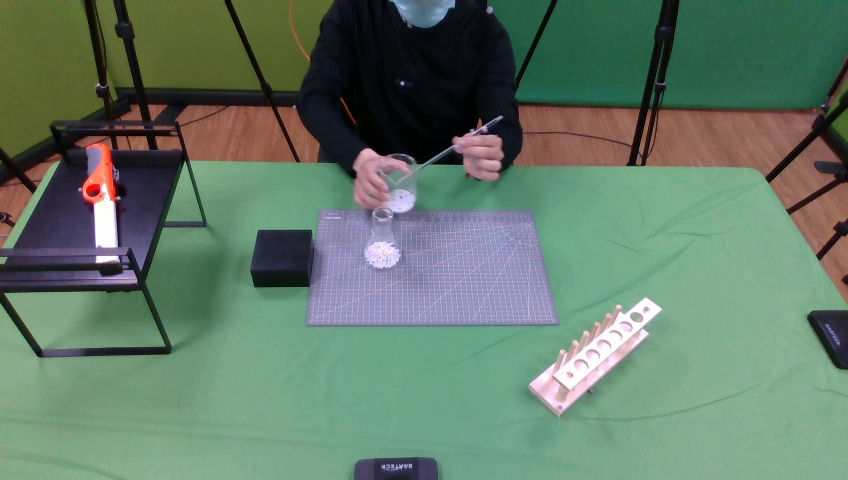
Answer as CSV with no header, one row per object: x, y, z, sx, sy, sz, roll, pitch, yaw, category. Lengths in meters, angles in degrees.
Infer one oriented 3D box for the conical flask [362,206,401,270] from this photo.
-0.078,-0.008,1.126,0.075,0.122,0.075,2,46,-2,conical flask

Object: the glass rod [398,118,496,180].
0.039,-0.158,1.057,0.200,0.008,0.008,-31,49,9,glass rod

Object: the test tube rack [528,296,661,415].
0.285,0.178,1.005,0.242,0.085,0.066,-31,55,-29,test tube rack

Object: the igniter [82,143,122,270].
-0.509,-0.063,0.961,0.057,0.025,0.274,-14,53,-18,igniter

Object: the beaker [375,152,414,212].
-0.057,-0.109,1.187,0.074,0.101,0.083,1,47,1,beaker
